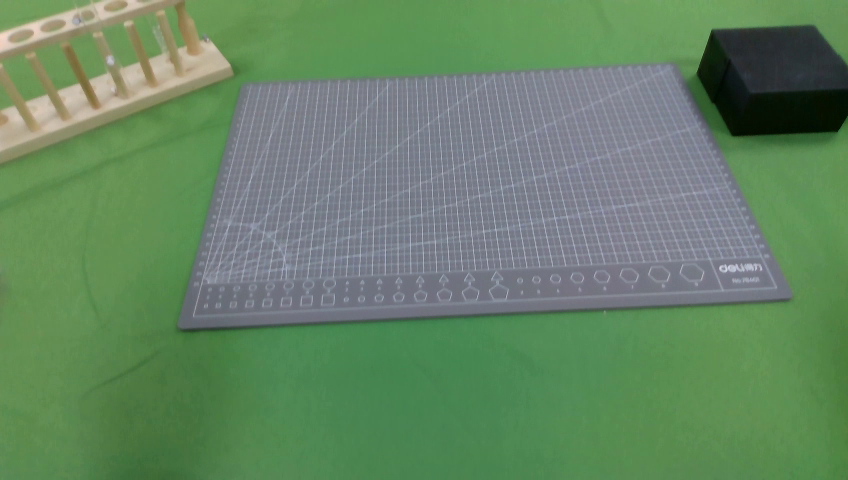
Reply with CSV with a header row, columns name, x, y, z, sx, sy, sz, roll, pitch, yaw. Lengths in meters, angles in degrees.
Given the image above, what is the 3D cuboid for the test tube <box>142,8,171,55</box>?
name,x,y,z,sx,sy,sz,roll,pitch,yaw
test tube,-0.274,-0.242,0.580,0.017,0.151,0.017,-3,53,4

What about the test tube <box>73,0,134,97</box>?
name,x,y,z,sx,sy,sz,roll,pitch,yaw
test tube,-0.299,-0.194,0.549,0.017,0.152,0.017,-1,50,1

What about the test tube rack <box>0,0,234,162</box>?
name,x,y,z,sx,sy,sz,roll,pitch,yaw
test tube rack,-0.321,-0.170,0.587,0.242,0.086,0.066,-28,55,-19
